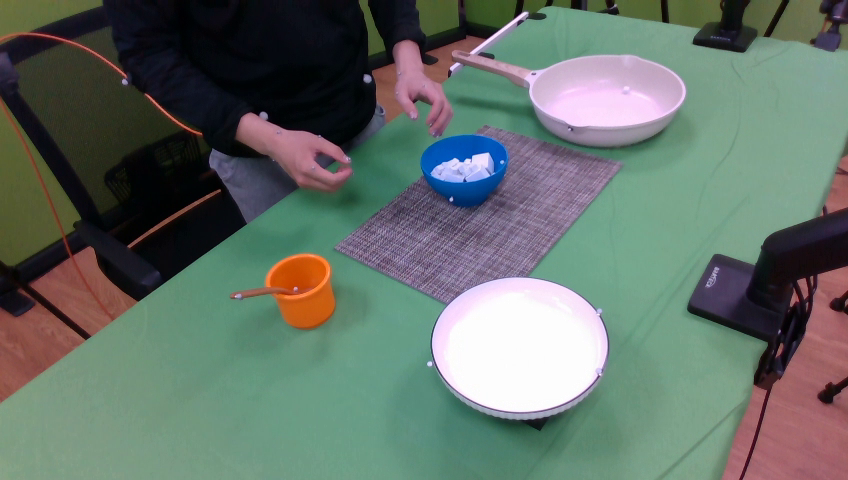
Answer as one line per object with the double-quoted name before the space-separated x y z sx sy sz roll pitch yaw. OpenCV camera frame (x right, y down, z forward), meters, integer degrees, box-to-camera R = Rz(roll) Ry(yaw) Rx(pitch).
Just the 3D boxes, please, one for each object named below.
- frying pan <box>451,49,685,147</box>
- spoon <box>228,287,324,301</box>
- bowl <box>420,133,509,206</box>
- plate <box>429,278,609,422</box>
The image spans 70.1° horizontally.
"frying pan" 0.269 -0.316 1.233 0.485 0.103 0.307 26 49 21
"spoon" -0.197 0.071 0.816 0.041 0.195 0.021 13 89 23
"bowl" 0.071 -0.112 1.038 0.151 0.077 0.150 -4 40 4
"plate" 0.111 0.129 0.716 0.207 0.039 0.206 -5 39 4
